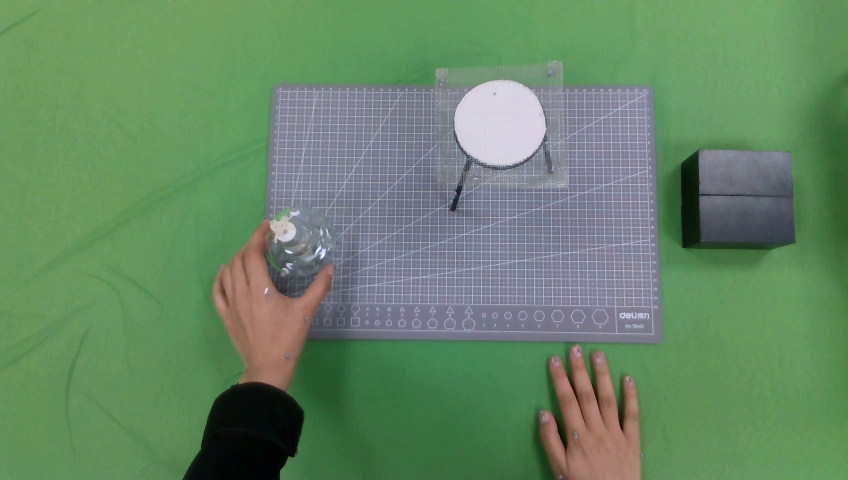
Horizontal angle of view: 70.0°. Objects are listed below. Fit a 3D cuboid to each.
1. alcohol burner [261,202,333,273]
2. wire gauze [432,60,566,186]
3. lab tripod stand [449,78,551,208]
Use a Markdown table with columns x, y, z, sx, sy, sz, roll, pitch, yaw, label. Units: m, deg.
| x | y | z | sx | sy | sz | roll | pitch | yaw | label |
| --- | --- | --- | --- | --- | --- | --- | --- | --- | --- |
| -0.138 | -0.005 | 0.639 | 0.078 | 0.119 | 0.077 | 0 | 83 | 1 | alcohol burner |
| 0.070 | -0.110 | 0.572 | 0.125 | 0.011 | 0.121 | 0 | 81 | 2 | wire gauze |
| 0.070 | -0.105 | 0.639 | 0.148 | 0.132 | 0.148 | 0 | 81 | 3 | lab tripod stand |
